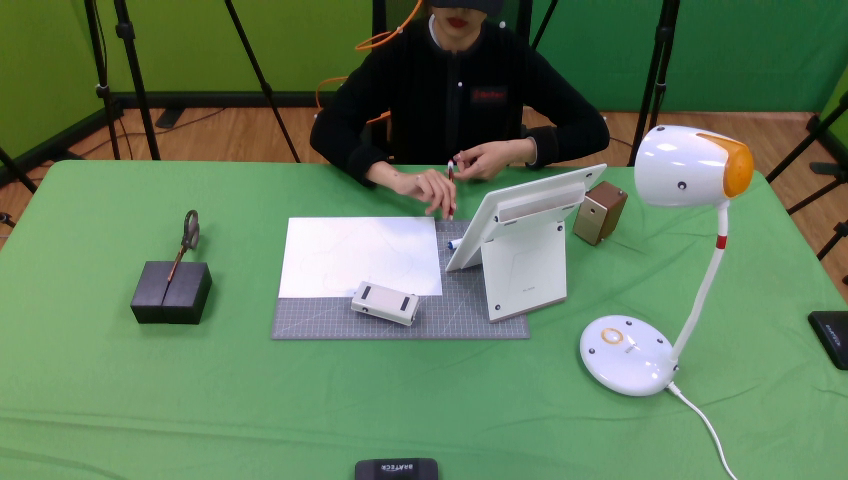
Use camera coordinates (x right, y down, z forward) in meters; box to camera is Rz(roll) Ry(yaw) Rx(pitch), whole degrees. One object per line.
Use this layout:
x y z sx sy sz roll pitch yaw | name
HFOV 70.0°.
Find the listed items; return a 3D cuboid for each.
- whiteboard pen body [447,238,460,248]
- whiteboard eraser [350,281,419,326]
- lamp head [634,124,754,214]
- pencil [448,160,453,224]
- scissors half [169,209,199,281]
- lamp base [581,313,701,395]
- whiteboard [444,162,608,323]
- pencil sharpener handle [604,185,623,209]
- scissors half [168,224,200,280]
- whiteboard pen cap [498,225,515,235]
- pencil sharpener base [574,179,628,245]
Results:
0.112 -0.005 1.203 0.141 0.017 0.017 -14 49 -18 | whiteboard pen body
-0.069 0.113 1.065 0.112 0.042 0.055 14 46 9 | whiteboard eraser
0.351 -0.089 0.775 0.112 0.113 0.122 -30 30 -28 | lamp head
0.055 -0.102 1.258 0.012 0.012 0.193 3 47 -1 | pencil
-0.438 0.007 1.098 0.013 0.040 0.174 3 48 -3 | scissors half
0.361 0.144 0.973 0.178 0.181 0.160 34 53 23 | lamp base
0.186 0.025 1.029 0.217 0.306 0.143 -14 68 -18 | whiteboard
0.390 -0.091 1.235 0.030 0.068 0.036 -33 69 -31 | pencil sharpener handle
-0.440 0.023 1.111 0.013 0.040 0.174 7 29 -6 | scissors half
0.166 -0.019 1.222 0.033 0.018 0.018 -14 49 -19 | whiteboard pen cap
0.355 -0.057 1.217 0.076 0.107 0.061 -33 56 -31 | pencil sharpener base
